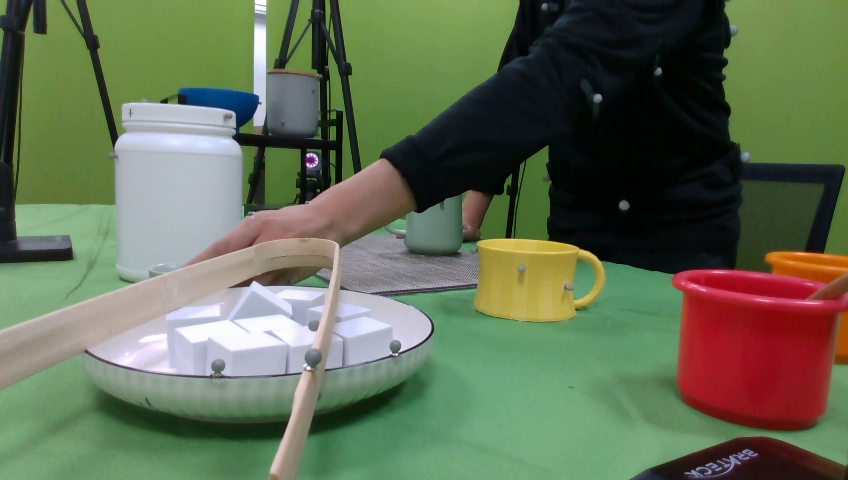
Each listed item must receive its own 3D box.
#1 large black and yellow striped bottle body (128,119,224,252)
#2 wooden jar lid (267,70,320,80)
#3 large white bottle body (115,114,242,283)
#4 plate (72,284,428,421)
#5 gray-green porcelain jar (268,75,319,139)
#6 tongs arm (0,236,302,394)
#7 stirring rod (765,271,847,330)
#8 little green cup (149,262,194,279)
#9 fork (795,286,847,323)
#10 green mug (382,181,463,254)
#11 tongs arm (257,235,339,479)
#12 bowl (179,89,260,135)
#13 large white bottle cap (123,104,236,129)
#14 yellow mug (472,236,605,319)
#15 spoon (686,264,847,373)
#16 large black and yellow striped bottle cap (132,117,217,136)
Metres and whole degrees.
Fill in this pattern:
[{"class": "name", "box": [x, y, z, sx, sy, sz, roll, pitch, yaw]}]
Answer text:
[{"class": "large black and yellow striped bottle body", "box": [-0.361, -0.081, 0.887, 0.131, 0.184, 0.130, 2, 8, 0]}, {"class": "wooden jar lid", "box": [-0.275, -0.339, 1.271, 0.108, 0.020, 0.108, 5, 6, 0]}, {"class": "large white bottle body", "box": [-0.270, -0.051, 0.674, 0.131, 0.184, 0.130, 2, 8, 0]}, {"class": "plate", "box": [-0.102, 0.067, 0.381, 0.208, 0.039, 0.207, 3, 7, 0]}, {"class": "gray-green porcelain jar", "box": [-0.277, -0.278, 1.280, 0.106, 0.126, 0.106, 2, 8, 0]}, {"class": "tongs arm", "box": [-0.157, 0.038, 0.347, 0.028, 0.028, 0.388, -3, 8, 12]}, {"class": "stirring rod", "box": [0.352, 0.020, 0.481, 0.176, 0.006, 0.014, -40, -7, 17]}, {"class": "little green cup", "box": [-0.208, 0.043, 0.532, 0.061, 0.038, 0.061, 4, 7, 0]}, {"class": "fork", "box": [0.332, 0.018, 0.443, 0.028, 0.018, 0.207, -3, -35, -16]}, {"class": "green mug", "box": [-0.001, -0.036, 0.922, 0.126, 0.105, 0.092, 0, 8, -16]}, {"class": "tongs arm", "box": [-0.074, 0.040, 0.345, 0.051, 0.026, 0.384, -2, 10, -3]}, {"class": "bowl", "box": [-0.400, -0.248, 1.188, 0.151, 0.077, 0.151, 3, 7, 0]}, {"class": "large white bottle cap", "box": [-0.266, -0.134, 0.663, 0.115, 0.018, 0.115, 3, 7, 0]}, {"class": "yellow mug", "box": [0.114, 0.034, 0.590, 0.131, 0.064, 0.100, 3, 6, -8]}, {"class": "spoon", "box": [0.214, 0.032, 0.328, 0.042, 0.021, 0.193, -3, -35, -26]}, {"class": "large black and yellow striped bottle cap", "box": [-0.359, -0.164, 0.875, 0.115, 0.019, 0.115, 2, 6, 0]}]
